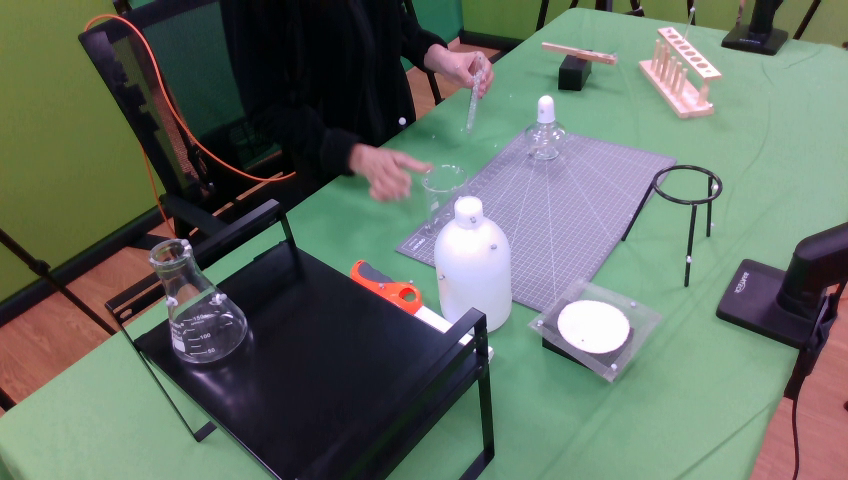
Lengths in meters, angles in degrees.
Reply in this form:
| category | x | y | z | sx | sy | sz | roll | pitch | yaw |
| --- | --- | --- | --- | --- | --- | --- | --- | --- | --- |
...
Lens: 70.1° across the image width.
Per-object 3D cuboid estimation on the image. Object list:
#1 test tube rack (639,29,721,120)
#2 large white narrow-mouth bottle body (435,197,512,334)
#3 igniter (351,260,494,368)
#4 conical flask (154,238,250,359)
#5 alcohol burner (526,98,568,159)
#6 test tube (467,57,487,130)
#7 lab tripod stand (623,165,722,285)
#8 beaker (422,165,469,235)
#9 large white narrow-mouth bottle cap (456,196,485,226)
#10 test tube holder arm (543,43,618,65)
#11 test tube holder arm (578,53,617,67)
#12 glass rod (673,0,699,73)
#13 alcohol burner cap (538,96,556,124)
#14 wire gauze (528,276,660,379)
| category | x | y | z | sx | sy | sz | roll | pitch | yaw |
| --- | --- | --- | --- | --- | --- | --- | --- | --- | --- |
| test tube rack | 0.527 | -0.351 | 1.262 | 0.067 | 0.085 | 0.241 | -8 | 40 | 1 |
| large white narrow-mouth bottle body | 0.066 | 0.028 | 0.805 | 0.102 | 0.195 | 0.101 | -4 | 40 | 4 |
| igniter | -0.013 | 0.098 | 0.864 | 0.274 | 0.025 | 0.057 | 30 | 65 | 36 |
| conical flask | -0.225 | 0.055 | 0.597 | 0.075 | 0.122 | 0.075 | -5 | 41 | 4 |
| alcohol burner | 0.228 | -0.210 | 1.118 | 0.078 | 0.119 | 0.077 | -5 | 43 | 5 |
| test tube | 0.099 | -0.274 | 1.146 | 0.017 | 0.150 | 0.017 | 5 | 41 | -4 |
| lab tripod stand | 0.365 | -0.030 | 0.874 | 0.148 | 0.132 | 0.147 | -6 | 41 | 6 |
| beaker | 0.041 | -0.063 | 0.986 | 0.073 | 0.101 | 0.084 | 20 | 47 | 29 |
| large white narrow-mouth bottle cap | 0.057 | -0.037 | 0.749 | 0.038 | 0.024 | 0.037 | -4 | 40 | 4 |
| test tube holder arm | 0.345 | -0.413 | 1.340 | 0.177 | 0.015 | 0.013 | 25 | 51 | 31 |
| test tube holder arm | 0.376 | -0.393 | 1.314 | 0.087 | 0.015 | 0.010 | 26 | 51 | 32 |
| glass rod | 0.538 | -0.425 | 1.245 | 0.008 | 0.200 | 0.008 | 0 | 47 | 0 |
| alcohol burner cap | 0.222 | -0.237 | 1.095 | 0.034 | 0.048 | 0.033 | -7 | 34 | 5 |
| wire gauze | 0.214 | 0.103 | 0.763 | 0.124 | 0.011 | 0.122 | 30 | 52 | 35 |
